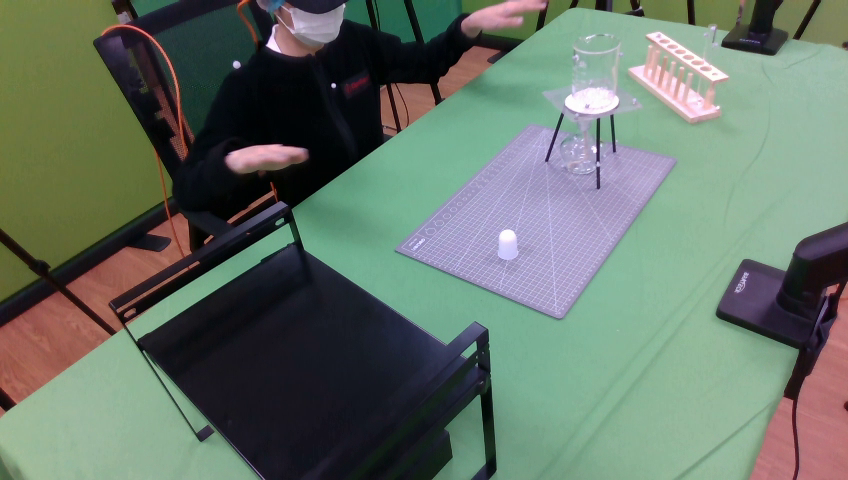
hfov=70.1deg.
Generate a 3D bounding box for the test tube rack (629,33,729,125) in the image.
[{"bbox_3d":[0.516,-0.337,1.247,0.067,0.085,0.240,-14,41,-7],"label":"test tube rack"}]

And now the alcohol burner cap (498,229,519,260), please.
[{"bbox_3d":[0.131,0.004,0.938,0.034,0.048,0.033,-4,40,3],"label":"alcohol burner cap"}]

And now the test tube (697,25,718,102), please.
[{"bbox_3d":[0.546,-0.337,1.166,0.017,0.151,0.017,-5,36,4],"label":"test tube"}]

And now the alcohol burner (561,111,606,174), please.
[{"bbox_3d":[0.283,-0.177,1.071,0.078,0.119,0.077,-5,42,5],"label":"alcohol burner"}]

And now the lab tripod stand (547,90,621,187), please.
[{"bbox_3d":[0.289,-0.184,1.062,0.148,0.132,0.147,-6,41,6],"label":"lab tripod stand"}]

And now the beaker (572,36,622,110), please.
[{"bbox_3d":[0.279,-0.274,0.992,0.074,0.101,0.083,-14,40,-5],"label":"beaker"}]

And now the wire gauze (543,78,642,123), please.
[{"bbox_3d":[0.282,-0.234,1.021,0.125,0.011,0.120,-17,38,-5],"label":"wire gauze"}]
